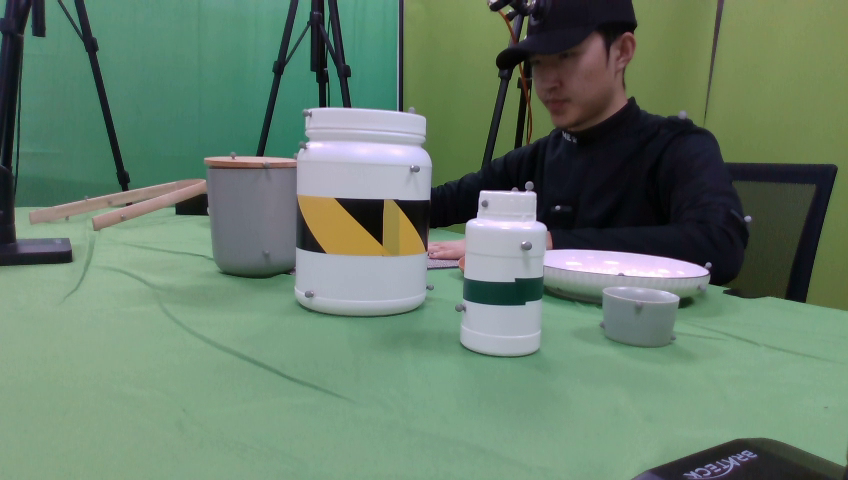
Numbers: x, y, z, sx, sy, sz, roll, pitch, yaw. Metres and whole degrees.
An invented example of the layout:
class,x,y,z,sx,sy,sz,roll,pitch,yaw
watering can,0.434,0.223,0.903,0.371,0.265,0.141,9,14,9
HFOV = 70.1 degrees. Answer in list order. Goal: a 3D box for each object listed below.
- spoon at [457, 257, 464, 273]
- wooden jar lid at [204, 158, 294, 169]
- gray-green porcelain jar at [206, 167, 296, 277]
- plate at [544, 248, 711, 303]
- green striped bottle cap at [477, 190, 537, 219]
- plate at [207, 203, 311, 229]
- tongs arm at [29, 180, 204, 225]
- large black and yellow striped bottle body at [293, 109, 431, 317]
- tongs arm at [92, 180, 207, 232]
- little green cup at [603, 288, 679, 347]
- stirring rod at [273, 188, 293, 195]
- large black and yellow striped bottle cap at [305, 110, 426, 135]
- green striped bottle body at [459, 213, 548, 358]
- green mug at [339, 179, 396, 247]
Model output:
class,x,y,z,sx,sy,sz,roll,pitch,yaw
spoon,0.059,0.044,0.696,0.041,0.021,0.193,20,7,0
wooden jar lid,-0.202,-0.086,0.714,0.108,0.020,0.108,3,11,0
gray-green porcelain jar,-0.201,-0.024,0.724,0.106,0.126,0.106,-1,9,1
plate,0.219,0.041,0.706,0.209,0.038,0.209,2,7,0
green striped bottle cap,0.062,-0.027,0.453,0.044,0.020,0.044,2,5,0
plate,-0.342,-0.050,1.259,0.208,0.039,0.207,3,7,0
tongs arm,-0.609,-0.083,1.245,0.050,0.026,0.386,5,16,23
large black and yellow striped bottle body,-0.060,-0.028,0.584,0.131,0.184,0.130,2,7,0
tongs arm,-0.534,-0.076,1.221,0.028,0.028,0.388,-2,15,12
little green cup,0.180,0.064,0.505,0.061,0.038,0.061,2,7,0
stirring rod,-0.353,-0.122,1.518,0.006,0.014,0.176,1,7,2
large black and yellow striped bottle cap,-0.055,-0.110,0.574,0.115,0.019,0.115,1,7,0
green striped bottle body,0.061,0.024,0.460,0.063,0.119,0.063,2,7,0
green mug,-0.096,-0.047,0.995,0.093,0.105,0.125,1,8,-22
